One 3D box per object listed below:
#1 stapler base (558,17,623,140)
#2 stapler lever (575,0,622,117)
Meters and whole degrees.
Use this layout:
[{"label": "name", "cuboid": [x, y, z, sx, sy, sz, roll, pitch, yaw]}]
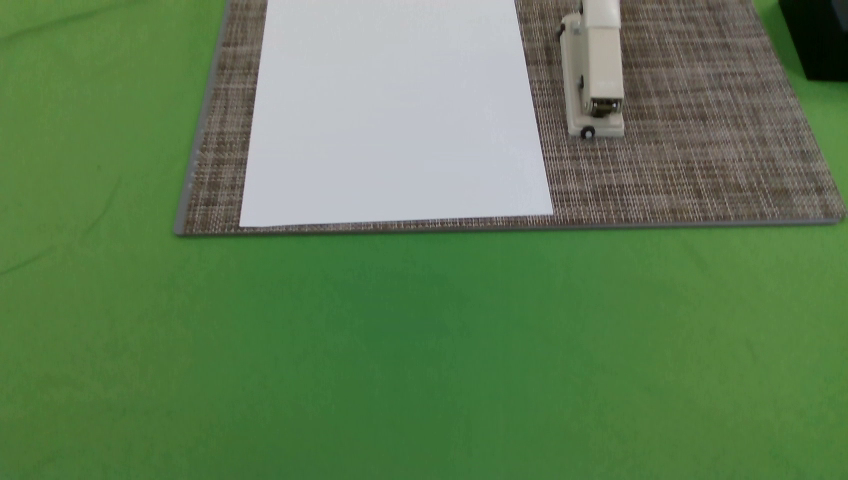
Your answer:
[{"label": "stapler base", "cuboid": [0.129, -0.134, 0.470, 0.041, 0.024, 0.129, 1, 60, 4]}, {"label": "stapler lever", "cuboid": [0.129, -0.145, 0.448, 0.027, 0.040, 0.117, 1, 60, 4]}]
